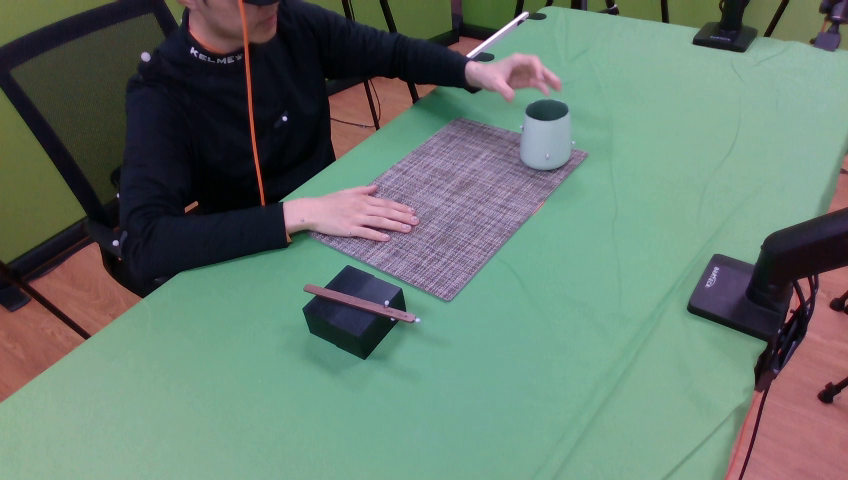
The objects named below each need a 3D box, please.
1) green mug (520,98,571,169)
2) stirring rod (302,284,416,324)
[{"bbox_3d":[0.215,-0.199,1.100,0.093,0.105,0.124,-14,41,-7],"label":"green mug"},{"bbox_3d":[-0.091,0.085,0.819,0.175,0.006,0.014,13,48,22],"label":"stirring rod"}]
